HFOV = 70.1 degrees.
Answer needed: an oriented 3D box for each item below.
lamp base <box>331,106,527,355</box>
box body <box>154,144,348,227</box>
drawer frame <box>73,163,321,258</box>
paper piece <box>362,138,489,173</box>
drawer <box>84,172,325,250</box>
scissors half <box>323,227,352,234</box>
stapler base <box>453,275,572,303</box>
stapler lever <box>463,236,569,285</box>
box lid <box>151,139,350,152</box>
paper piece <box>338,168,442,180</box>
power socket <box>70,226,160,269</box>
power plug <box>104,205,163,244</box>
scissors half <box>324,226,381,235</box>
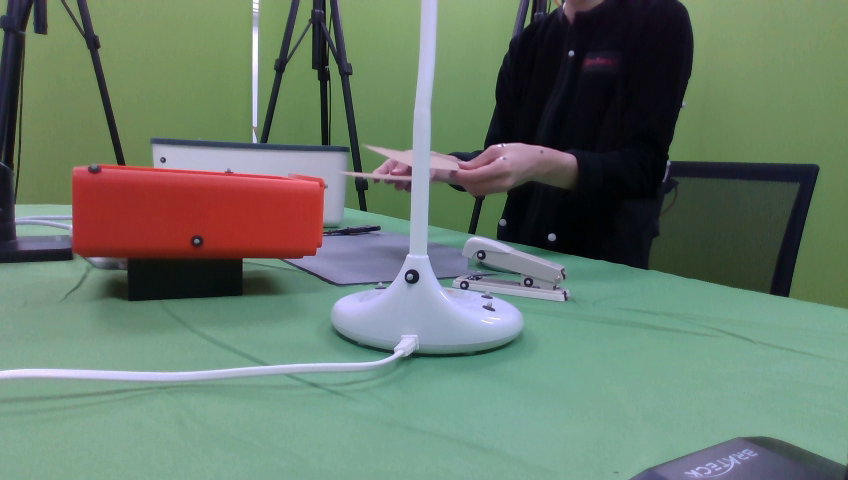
[{"bbox_3d":[0.006,-0.012,0.478,0.161,0.180,0.179,2,10,2],"label":"lamp base"},{"bbox_3d":[-0.357,-0.119,1.264,0.365,0.160,0.253,0,7,-18],"label":"box body"},{"bbox_3d":[-0.232,-0.034,0.635,0.214,0.082,0.201,1,8,-23],"label":"drawer frame"},{"bbox_3d":[0.000,-0.118,0.857,0.139,0.008,0.135,3,20,-36],"label":"paper piece"},{"bbox_3d":[-0.227,-0.036,0.638,0.213,0.073,0.193,-1,9,-23],"label":"drawer"},{"bbox_3d":[-0.166,-0.014,1.094,0.040,0.013,0.176,1,5,40],"label":"scissors half"},{"bbox_3d":[0.097,0.047,0.670,0.130,0.024,0.041,7,12,23],"label":"stapler base"},{"bbox_3d":[0.100,0.022,0.666,0.117,0.040,0.027,8,12,23],"label":"stapler lever"},{"bbox_3d":[-0.352,-0.191,1.256,0.373,0.015,0.262,0,8,-18],"label":"box lid"},{"bbox_3d":[-0.055,-0.101,0.907,0.136,0.004,0.135,1,11,-18],"label":"paper piece"},{"bbox_3d":[-0.409,0.004,0.793,0.072,0.032,0.225,-2,8,-38],"label":"power socket"},{"bbox_3d":[-0.390,-0.021,0.815,0.073,0.052,0.035,-1,7,-27],"label":"power plug"},{"bbox_3d":[-0.152,-0.015,1.079,0.176,0.013,0.040,-7,1,-33],"label":"scissors half"}]
